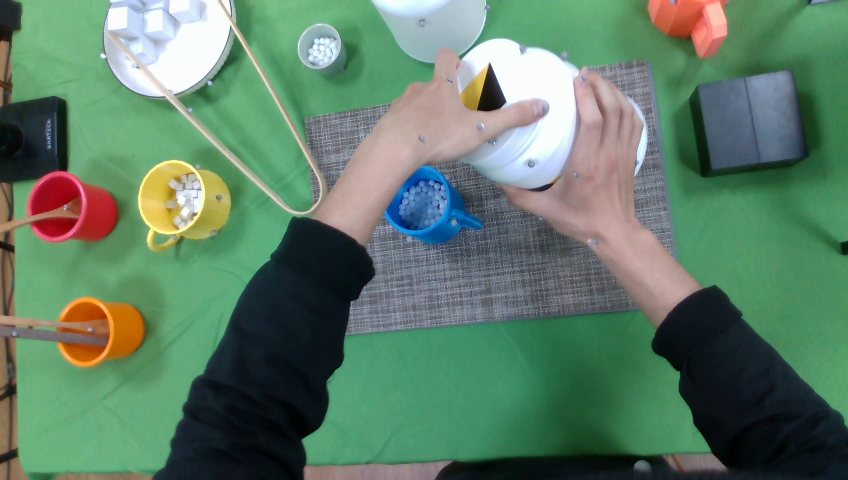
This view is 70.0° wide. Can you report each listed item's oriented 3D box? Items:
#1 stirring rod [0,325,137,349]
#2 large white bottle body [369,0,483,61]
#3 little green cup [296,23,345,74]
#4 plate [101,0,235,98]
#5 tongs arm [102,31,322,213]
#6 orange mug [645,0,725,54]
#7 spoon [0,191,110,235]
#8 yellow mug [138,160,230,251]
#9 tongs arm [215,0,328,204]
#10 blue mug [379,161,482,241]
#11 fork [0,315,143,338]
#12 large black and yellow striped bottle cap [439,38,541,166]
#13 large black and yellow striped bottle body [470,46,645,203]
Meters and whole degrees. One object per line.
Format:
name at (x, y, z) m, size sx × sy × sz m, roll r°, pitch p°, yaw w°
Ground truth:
stirring rod at (-0.479, 0.129, 0.807) m, size 0.006 × 0.177 × 0.014 m, roll -24°, pitch 59°, yaw 53°
large white bottle body at (-0.004, -0.308, 0.720) m, size 0.130 × 0.185 × 0.130 m, roll -1°, pitch 84°, yaw 13°
little green cup at (-0.138, -0.256, 0.820) m, size 0.061 × 0.039 × 0.061 m, roll -1°, pitch 86°, yaw 12°
plate at (-0.363, -0.303, 0.872) m, size 0.207 × 0.039 × 0.207 m, roll -1°, pitch 86°, yaw 12°
tongs arm at (-0.291, -0.167, 0.826) m, size 0.051 × 0.026 × 0.384 m, roll -45°, pitch 85°, yaw 2°
orange mug at (0.311, -0.282, 0.694) m, size 0.083 × 0.101 × 0.125 m, roll -17°, pitch 78°, yaw 11°
spoon at (-0.534, -0.028, 0.833) m, size 0.194 × 0.022 × 0.041 m, roll -23°, pitch 75°, yaw -36°
yellow mug at (-0.336, -0.041, 0.831) m, size 0.099 × 0.064 × 0.131 m, roll 33°, pitch 94°, yaw 13°
tongs arm at (-0.226, -0.221, 0.820) m, size 0.028 × 0.028 × 0.387 m, roll -30°, pitch 86°, yaw -1°
blue mug at (0.015, -0.039, 0.731) m, size 0.116 × 0.106 × 0.082 m, roll 19°, pitch 89°, yaw 13°
fork at (-0.489, 0.112, 0.808) m, size 0.209 × 0.018 × 0.028 m, roll 10°, pitch 85°, yaw -31°
large black and yellow striped bottle cap at (0.056, -0.126, 0.554) m, size 0.114 × 0.019 × 0.114 m, roll -14°, pitch 72°, yaw 48°
large black and yellow striped bottle body at (0.120, -0.114, 0.610) m, size 0.130 × 0.185 × 0.130 m, roll -12°, pitch 74°, yaw 47°
